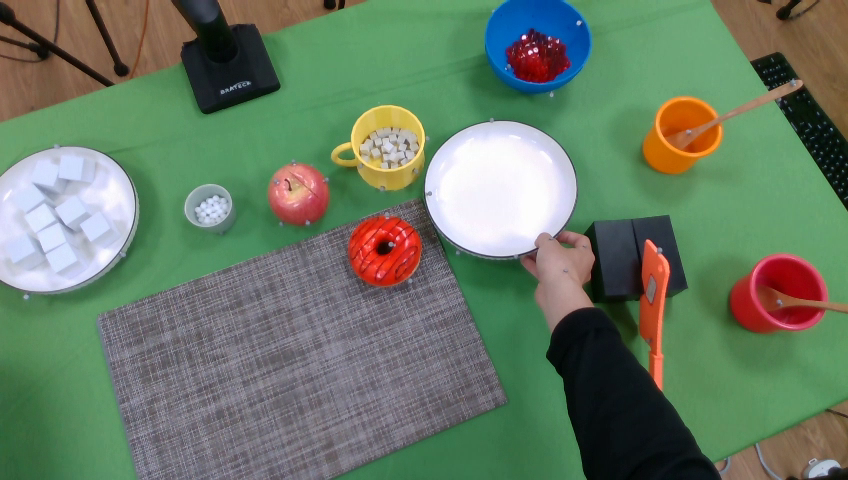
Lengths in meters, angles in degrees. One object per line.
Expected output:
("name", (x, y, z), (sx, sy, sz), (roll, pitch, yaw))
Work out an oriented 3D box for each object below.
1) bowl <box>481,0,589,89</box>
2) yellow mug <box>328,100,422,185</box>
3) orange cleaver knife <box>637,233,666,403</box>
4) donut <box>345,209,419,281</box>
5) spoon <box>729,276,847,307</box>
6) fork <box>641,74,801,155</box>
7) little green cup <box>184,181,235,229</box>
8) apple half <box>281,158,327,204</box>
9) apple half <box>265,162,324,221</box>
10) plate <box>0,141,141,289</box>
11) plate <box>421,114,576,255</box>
("bowl", (0.154, -0.276, 0.879), (0.151, 0.077, 0.150), (0, 73, -1))
("yellow mug", (-0.067, -0.130, 0.835), (0.131, 0.064, 0.099), (-11, 73, -4))
("orange cleaver knife", (0.282, 0.099, 0.760), (0.012, 0.077, 0.212), (-3, 105, 0))
("donut", (-0.056, 0.006, 0.799), (0.099, 0.048, 0.098), (0, 74, 0))
("spoon", (0.478, 0.073, 0.743), (0.192, 0.022, 0.041), (6, 60, 48))
("fork", (0.392, -0.167, 0.813), (0.207, 0.019, 0.028), (-27, 68, 36))
("little green cup", (-0.286, -0.045, 0.817), (0.061, 0.039, 0.061), (0, 72, -1))
("apple half", (-0.153, -0.084, 0.814), (0.081, 0.081, 0.033), (40, 80, 11))
("apple half", (-0.179, -0.055, 0.806), (0.080, 0.075, 0.053), (41, 80, 7))
("plate", (-0.480, -0.032, 0.809), (0.208, 0.039, 0.206), (0, 72, -1))
("plate", (0.100, -0.074, 0.825), (0.209, 0.038, 0.207), (-2, 68, 5))
